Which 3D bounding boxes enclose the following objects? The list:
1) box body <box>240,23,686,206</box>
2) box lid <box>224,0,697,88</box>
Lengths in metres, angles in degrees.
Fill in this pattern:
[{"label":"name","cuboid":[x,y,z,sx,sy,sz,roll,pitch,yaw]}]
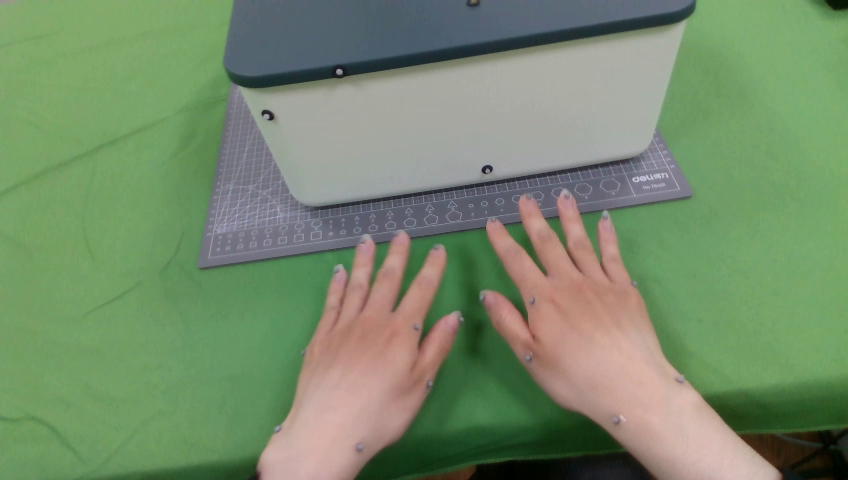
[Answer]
[{"label":"box body","cuboid":[0.027,-0.187,0.588,0.364,0.162,0.251,-9,49,0]},{"label":"box lid","cuboid":[0.016,-0.235,0.532,0.371,0.015,0.260,-8,50,0]}]
